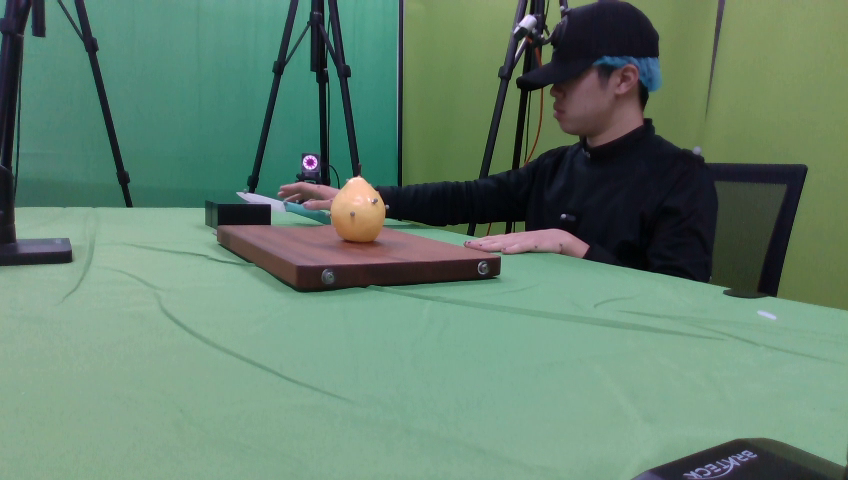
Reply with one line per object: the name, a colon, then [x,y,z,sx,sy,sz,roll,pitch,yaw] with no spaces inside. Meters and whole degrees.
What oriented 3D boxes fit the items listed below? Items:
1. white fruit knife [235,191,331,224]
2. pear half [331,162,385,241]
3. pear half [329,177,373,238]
white fruit knife: [-0.286,-0.070,1.245,0.208,0.027,0.016,15,-5,-29]
pear half: [-0.085,-0.052,0.839,0.055,0.110,0.077,9,14,42]
pear half: [-0.109,-0.047,0.866,0.031,0.088,0.071,8,12,43]
